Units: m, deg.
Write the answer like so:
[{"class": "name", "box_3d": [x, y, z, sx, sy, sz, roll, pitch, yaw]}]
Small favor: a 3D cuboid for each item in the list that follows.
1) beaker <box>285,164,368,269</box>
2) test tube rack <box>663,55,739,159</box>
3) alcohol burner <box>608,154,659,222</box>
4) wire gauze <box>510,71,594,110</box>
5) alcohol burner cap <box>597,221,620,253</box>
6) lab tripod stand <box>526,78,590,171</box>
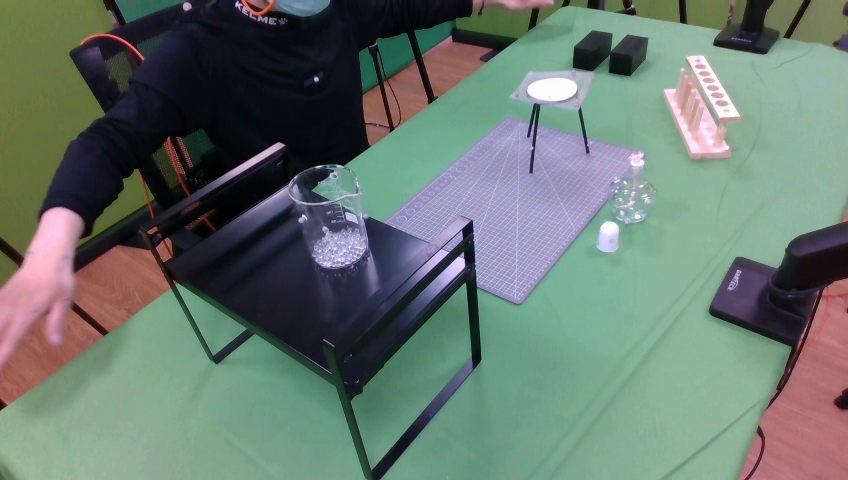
[{"class": "beaker", "box_3d": [-0.102, -0.024, 0.676, 0.083, 0.101, 0.074, 8, 43, 16]}, {"class": "test tube rack", "box_3d": [0.518, -0.256, 1.144, 0.066, 0.085, 0.241, -1, 41, 8]}, {"class": "alcohol burner", "box_3d": [0.333, -0.087, 0.954, 0.078, 0.119, 0.077, -3, 42, 3]}, {"class": "wire gauze", "box_3d": [0.224, -0.266, 1.053, 0.124, 0.011, 0.121, 12, 44, 23]}, {"class": "alcohol burner cap", "box_3d": [0.283, -0.007, 0.924, 0.034, 0.048, 0.033, -4, 39, 4]}, {"class": "lab tripod stand", "box_3d": [0.228, -0.216, 1.097, 0.148, 0.132, 0.147, -5, 40, 5]}]
